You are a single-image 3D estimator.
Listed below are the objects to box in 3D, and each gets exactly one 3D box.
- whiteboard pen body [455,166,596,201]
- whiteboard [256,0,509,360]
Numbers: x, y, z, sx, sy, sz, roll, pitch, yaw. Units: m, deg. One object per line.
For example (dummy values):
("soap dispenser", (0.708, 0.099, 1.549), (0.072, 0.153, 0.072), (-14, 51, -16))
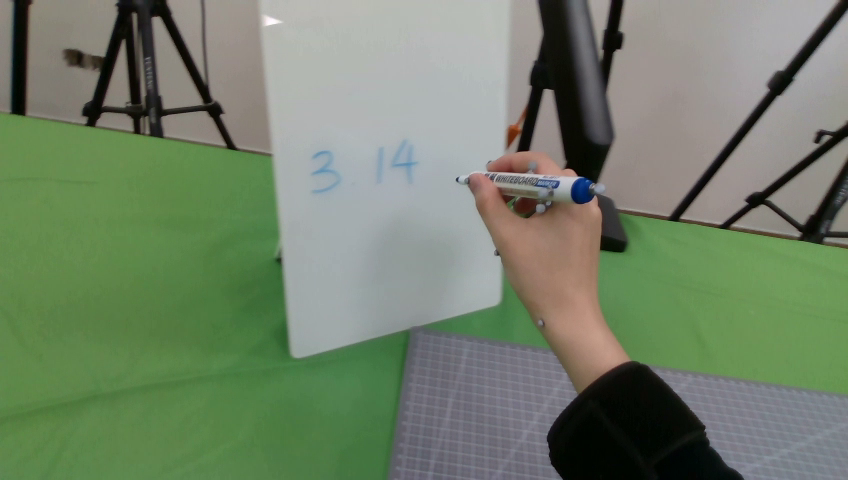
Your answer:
("whiteboard pen body", (0.058, -0.039, 0.400), (0.017, 0.017, 0.139), (-10, 13, -28))
("whiteboard", (-0.050, -0.081, 0.561), (0.218, 0.307, 0.142), (-11, 20, -27))
